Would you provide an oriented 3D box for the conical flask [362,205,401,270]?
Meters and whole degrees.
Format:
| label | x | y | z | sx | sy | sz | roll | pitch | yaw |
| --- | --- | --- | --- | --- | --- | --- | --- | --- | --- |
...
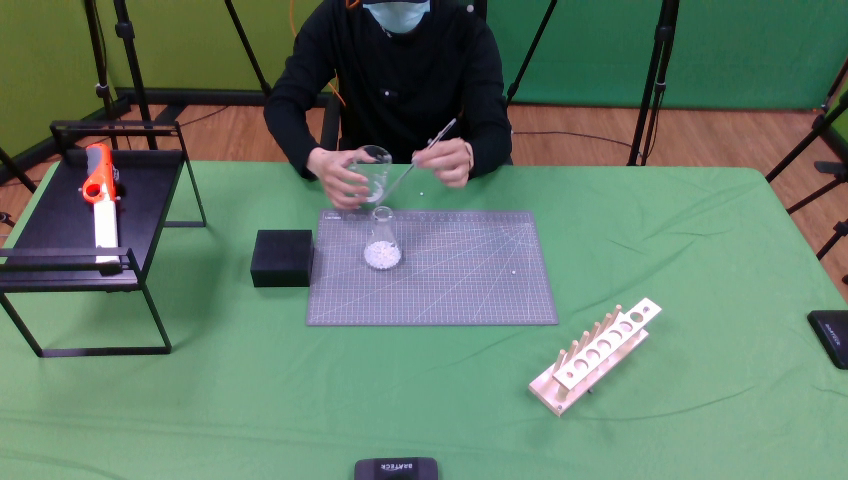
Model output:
| label | x | y | z | sx | sy | sz | roll | pitch | yaw |
| --- | --- | --- | --- | --- | --- | --- | --- | --- | --- |
| conical flask | -0.078 | -0.008 | 1.127 | 0.075 | 0.122 | 0.075 | 2 | 46 | -2 |

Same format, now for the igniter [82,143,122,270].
| label | x | y | z | sx | sy | sz | roll | pitch | yaw |
| --- | --- | --- | --- | --- | --- | --- | --- | --- | --- |
| igniter | -0.509 | -0.063 | 0.961 | 0.057 | 0.025 | 0.274 | -14 | 53 | -18 |

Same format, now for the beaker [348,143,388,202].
| label | x | y | z | sx | sy | sz | roll | pitch | yaw |
| --- | --- | --- | --- | --- | --- | --- | --- | --- | --- |
| beaker | -0.112 | -0.128 | 1.200 | 0.074 | 0.100 | 0.083 | -22 | 63 | -24 |

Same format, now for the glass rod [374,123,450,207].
| label | x | y | z | sx | sy | sz | roll | pitch | yaw |
| --- | --- | --- | --- | --- | --- | --- | --- | --- | --- |
| glass rod | -0.023 | -0.128 | 1.053 | 0.008 | 0.200 | 0.008 | 39 | 20 | -16 |

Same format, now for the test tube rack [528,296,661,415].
| label | x | y | z | sx | sy | sz | roll | pitch | yaw |
| --- | --- | --- | --- | --- | --- | --- | --- | --- | --- |
| test tube rack | 0.285 | 0.178 | 1.005 | 0.242 | 0.085 | 0.066 | -31 | 55 | -29 |
